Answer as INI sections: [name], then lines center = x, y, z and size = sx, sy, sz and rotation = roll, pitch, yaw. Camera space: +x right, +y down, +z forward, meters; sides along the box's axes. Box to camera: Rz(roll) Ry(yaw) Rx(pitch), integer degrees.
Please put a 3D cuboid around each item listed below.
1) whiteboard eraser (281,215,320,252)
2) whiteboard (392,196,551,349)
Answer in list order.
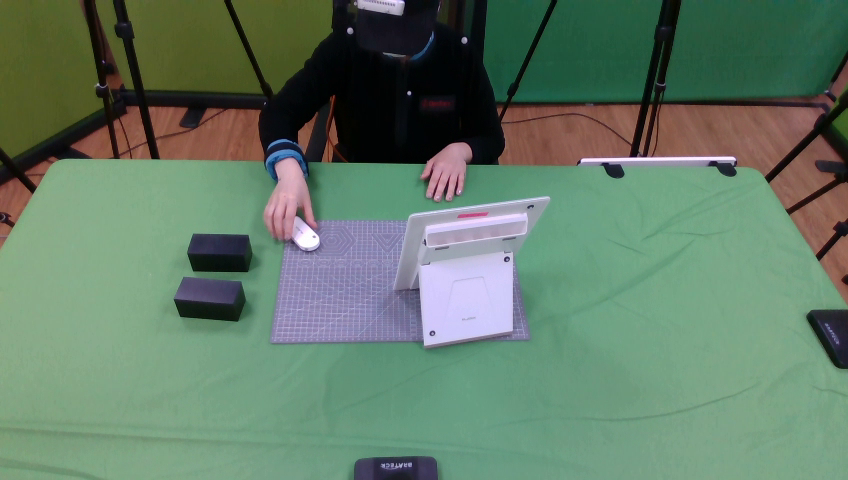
[whiteboard eraser]
center = -0.244, -0.015, 1.191
size = 0.041, 0.019, 0.100
rotation = -30, 56, -29
[whiteboard]
center = 0.077, 0.071, 0.977
size = 0.217, 0.306, 0.143
rotation = -7, 67, -11
